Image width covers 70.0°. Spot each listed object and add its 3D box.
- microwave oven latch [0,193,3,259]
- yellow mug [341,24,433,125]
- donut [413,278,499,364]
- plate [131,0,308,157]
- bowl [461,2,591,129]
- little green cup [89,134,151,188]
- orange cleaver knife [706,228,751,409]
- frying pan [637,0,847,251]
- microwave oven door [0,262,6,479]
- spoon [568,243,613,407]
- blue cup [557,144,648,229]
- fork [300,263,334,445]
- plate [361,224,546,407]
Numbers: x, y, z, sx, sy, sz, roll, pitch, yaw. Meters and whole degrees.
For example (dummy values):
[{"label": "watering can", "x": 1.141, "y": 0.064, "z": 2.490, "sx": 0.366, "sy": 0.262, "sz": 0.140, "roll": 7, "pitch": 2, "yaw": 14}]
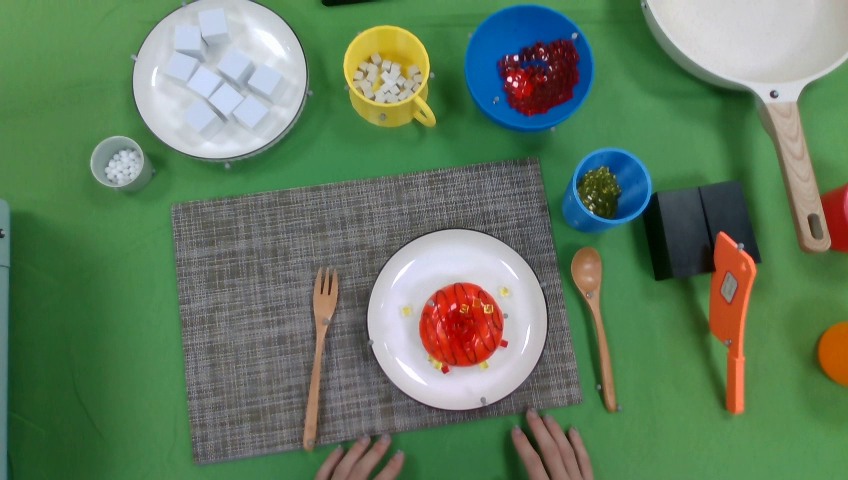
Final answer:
[{"label": "microwave oven latch", "x": -0.494, "y": -0.018, "z": 0.681, "sx": 0.030, "sy": 0.029, "sz": 0.079, "roll": -3, "pitch": 82, "yaw": -3}, {"label": "yellow mug", "x": -0.036, "y": -0.188, "z": 0.730, "sx": 0.130, "sy": 0.064, "sz": 0.100, "roll": 44, "pitch": 82, "yaw": 4}, {"label": "donut", "x": 0.037, "y": 0.092, "z": 0.687, "sx": 0.099, "sy": 0.048, "sz": 0.099, "roll": 0, "pitch": 85, "yaw": -1}, {"label": "plate", "x": -0.243, "y": -0.198, "z": 0.738, "sx": 0.208, "sy": 0.039, "sz": 0.207, "roll": 0, "pitch": 81, "yaw": -2}, {"label": "bowl", "x": 0.116, "y": -0.197, "z": 0.731, "sx": 0.151, "sy": 0.077, "sz": 0.151, "roll": 0, "pitch": 81, "yaw": -2}, {"label": "little green cup", "x": -0.356, "y": -0.090, "z": 0.715, "sx": 0.061, "sy": 0.039, "sz": 0.061, "roll": 0, "pitch": 82, "yaw": -3}, {"label": "orange cleaver knife", "x": 0.343, "y": 0.092, "z": 0.692, "sx": 0.012, "sy": 0.076, "sz": 0.212, "roll": -9, "pitch": 110, "yaw": -3}, {"label": "frying pan", "x": 0.407, "y": -0.222, "z": 0.731, "sx": 0.307, "sy": 0.103, "sz": 0.484, "roll": -3, "pitch": 73, "yaw": -1}, {"label": "microwave oven door", "x": -0.473, "y": 0.182, "z": 0.549, "sx": 0.039, "sy": 0.244, "sz": 0.354, "roll": -5, "pitch": 81, "yaw": -2}, {"label": "spoon", "x": 0.201, "y": 0.100, "z": 0.715, "sx": 0.042, "sy": 0.021, "sz": 0.193, "roll": -5, "pitch": 80, "yaw": -24}, {"label": "blue cup", "x": 0.196, "y": -0.053, "z": 0.699, "sx": 0.093, "sy": 0.100, "sz": 0.092, "roll": 1, "pitch": 79, "yaw": -3}, {"label": "fork", "x": -0.125, "y": 0.130, "z": 0.696, "sx": 0.028, "sy": 0.018, "sz": 0.206, "roll": 7, "pitch": 79, "yaw": -13}, {"label": "plate", "x": 0.034, "y": 0.086, "z": 0.700, "sx": 0.209, "sy": 0.038, "sz": 0.208, "roll": 0, "pitch": 82, "yaw": -2}]
